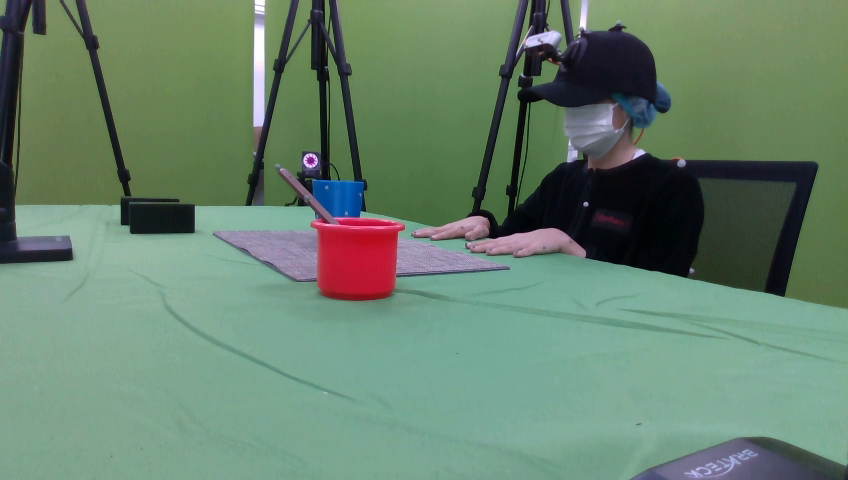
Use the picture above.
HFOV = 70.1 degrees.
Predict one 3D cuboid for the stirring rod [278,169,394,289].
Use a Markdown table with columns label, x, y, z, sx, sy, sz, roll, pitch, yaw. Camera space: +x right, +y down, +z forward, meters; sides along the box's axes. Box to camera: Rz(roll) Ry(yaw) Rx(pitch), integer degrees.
| label | x | y | z | sx | sy | sz | roll | pitch | yaw |
| --- | --- | --- | --- | --- | --- | --- | --- | --- | --- |
| stirring rod | -0.094 | -0.013 | 0.639 | 0.176 | 0.006 | 0.014 | 46 | 22 | 7 |

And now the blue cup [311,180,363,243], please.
| label | x | y | z | sx | sy | sz | roll | pitch | yaw |
| --- | --- | --- | --- | --- | --- | --- | --- | --- | --- |
| blue cup | -0.144 | -0.047 | 0.997 | 0.093 | 0.100 | 0.092 | 2 | 6 | 0 |
